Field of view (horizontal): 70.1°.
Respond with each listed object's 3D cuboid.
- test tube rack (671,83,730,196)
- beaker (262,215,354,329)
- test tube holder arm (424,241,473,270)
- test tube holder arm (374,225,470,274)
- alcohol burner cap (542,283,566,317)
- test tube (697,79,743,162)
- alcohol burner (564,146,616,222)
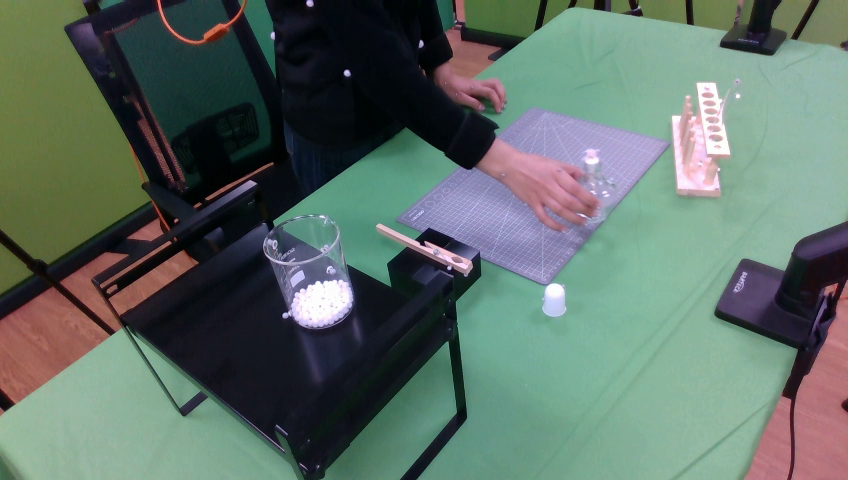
[{"bbox_3d":[0.482,-0.184,1.067,0.066,0.085,0.242,5,42,15],"label":"test tube rack"},{"bbox_3d":[-0.112,0.034,0.616,0.073,0.101,0.084,13,44,22],"label":"beaker"},{"bbox_3d":[0.032,0.022,0.872,0.087,0.015,0.010,22,49,32],"label":"test tube holder arm"},{"bbox_3d":[-0.007,0.011,0.893,0.177,0.015,0.013,22,49,31],"label":"test tube holder arm"},{"bbox_3d":[0.181,0.081,0.839,0.034,0.048,0.033,-3,40,3],"label":"alcohol burner cap"},{"bbox_3d":[0.486,-0.194,0.998,0.017,0.150,0.017,5,40,-4],"label":"test tube"},{"bbox_3d":[0.252,-0.088,0.915,0.078,0.119,0.077,-6,39,5],"label":"alcohol burner"}]
